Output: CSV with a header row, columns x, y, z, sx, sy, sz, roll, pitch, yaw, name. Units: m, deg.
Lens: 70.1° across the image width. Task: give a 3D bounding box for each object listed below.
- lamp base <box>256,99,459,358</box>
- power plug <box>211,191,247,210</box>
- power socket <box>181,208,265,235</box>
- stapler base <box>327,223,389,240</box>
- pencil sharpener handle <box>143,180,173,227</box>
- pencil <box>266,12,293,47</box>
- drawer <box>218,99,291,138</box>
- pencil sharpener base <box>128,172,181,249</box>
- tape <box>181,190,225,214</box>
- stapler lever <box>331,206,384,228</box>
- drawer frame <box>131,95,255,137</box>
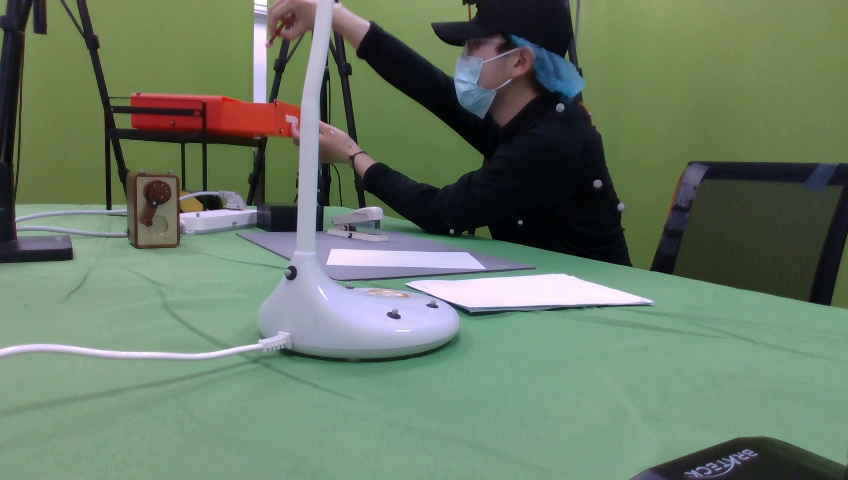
x,y,z,sx,sy,sz,roll,pitch,yaw,name
-0.055,-0.013,0.463,0.160,0.180,0.180,6,11,27,lamp base
-0.386,-0.071,1.204,0.072,0.052,0.035,7,9,27,power plug
-0.381,-0.038,1.129,0.072,0.032,0.227,4,8,17,power socket
-0.117,-0.018,1.073,0.130,0.024,0.041,7,8,41,stapler base
-0.371,-0.050,0.840,0.036,0.067,0.030,24,-6,-34,pencil sharpener handle
-0.297,-0.433,1.243,0.012,0.012,0.193,-2,-2,-29,pencil
-0.391,-0.270,1.360,0.211,0.073,0.195,2,7,10,drawer
-0.395,-0.044,0.887,0.062,0.107,0.076,-2,9,-34,pencil sharpener base
-0.515,-0.086,1.388,0.117,0.052,0.117,4,7,0,tape
-0.118,-0.043,1.070,0.117,0.040,0.027,7,8,41,stapler lever
-0.507,-0.280,1.377,0.213,0.082,0.202,3,8,8,drawer frame
